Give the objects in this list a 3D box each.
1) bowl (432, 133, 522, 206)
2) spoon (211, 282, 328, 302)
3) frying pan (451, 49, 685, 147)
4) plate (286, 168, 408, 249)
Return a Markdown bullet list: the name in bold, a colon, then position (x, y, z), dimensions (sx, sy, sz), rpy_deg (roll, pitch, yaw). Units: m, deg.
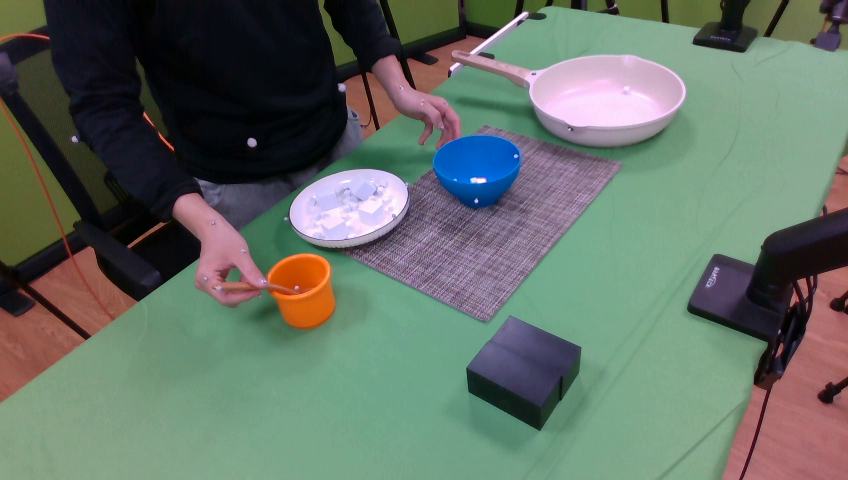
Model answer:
- **bowl**: position (0.092, -0.110, 1.034), dimensions (0.151, 0.077, 0.150), rpy_deg (-4, 40, 4)
- **spoon**: position (-0.205, 0.067, 0.822), dimensions (0.041, 0.195, 0.021), rpy_deg (26, 95, 36)
- **frying pan**: position (0.269, -0.316, 1.233), dimensions (0.485, 0.103, 0.307), rpy_deg (26, 49, 21)
- **plate**: position (-0.127, -0.050, 1.028), dimensions (0.207, 0.039, 0.206), rpy_deg (-5, 39, 5)
